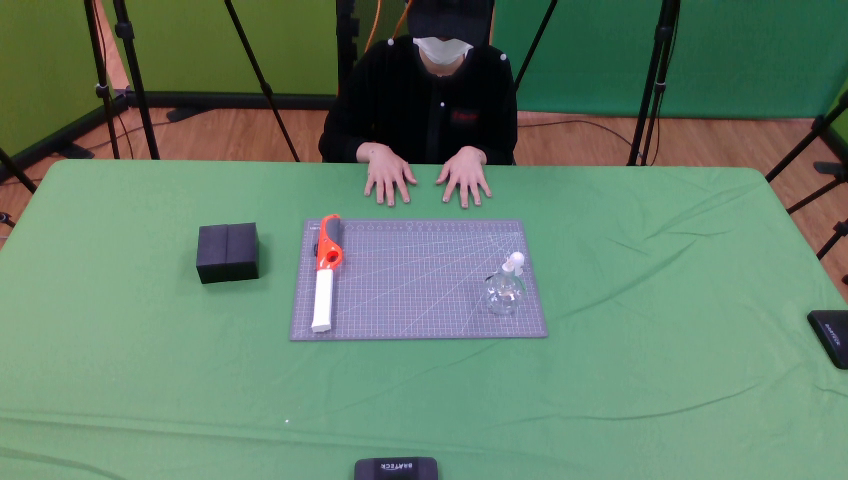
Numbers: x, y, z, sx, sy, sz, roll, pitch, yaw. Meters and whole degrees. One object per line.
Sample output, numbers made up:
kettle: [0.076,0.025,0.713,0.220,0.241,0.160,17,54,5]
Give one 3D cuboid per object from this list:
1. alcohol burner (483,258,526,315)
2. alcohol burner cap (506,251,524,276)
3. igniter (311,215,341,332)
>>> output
alcohol burner: [0.143,0.076,1.067,0.078,0.120,0.077,1,45,-1]
alcohol burner cap: [0.175,0.043,1.151,0.034,0.048,0.033,1,46,-1]
igniter: [-0.183,0.052,1.124,0.057,0.025,0.274,-7,46,3]
